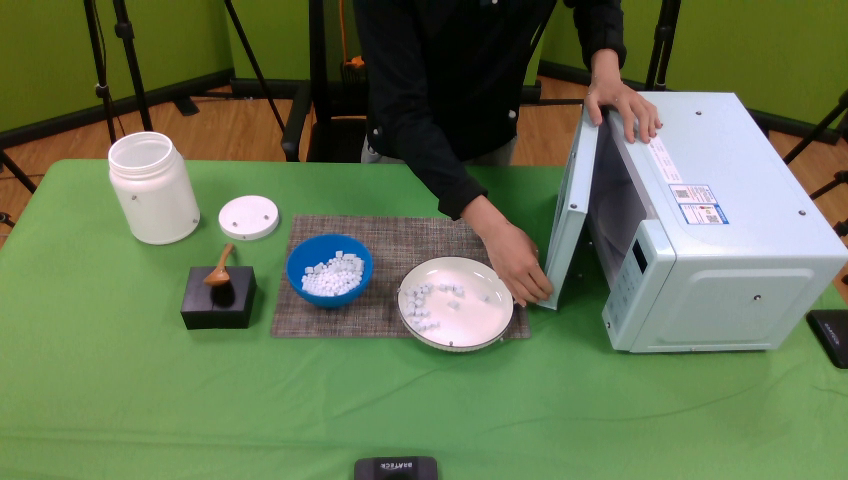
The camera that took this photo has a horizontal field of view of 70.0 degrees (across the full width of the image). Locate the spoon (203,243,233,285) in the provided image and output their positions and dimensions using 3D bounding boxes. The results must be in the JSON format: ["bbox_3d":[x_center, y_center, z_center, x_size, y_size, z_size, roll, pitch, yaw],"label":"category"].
[{"bbox_3d":[-0.360,0.039,1.087,0.041,0.022,0.192,-5,24,-7],"label":"spoon"}]

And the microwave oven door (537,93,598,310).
[{"bbox_3d":[0.272,-0.080,1.125,0.039,0.245,0.354,13,46,9],"label":"microwave oven door"}]

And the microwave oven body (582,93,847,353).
[{"bbox_3d":[0.475,-0.041,1.109,0.326,0.261,0.438,-1,45,-4],"label":"microwave oven body"}]

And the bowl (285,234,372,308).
[{"bbox_3d":[-0.167,0.068,1.077,0.151,0.077,0.150,3,46,-2],"label":"bowl"}]

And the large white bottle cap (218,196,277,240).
[{"bbox_3d":[-0.354,-0.045,1.220,0.115,0.018,0.114,2,45,-1],"label":"large white bottle cap"}]

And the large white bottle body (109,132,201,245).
[{"bbox_3d":[-0.506,-0.097,1.141,0.131,0.185,0.130,2,46,-2],"label":"large white bottle body"}]

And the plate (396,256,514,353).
[{"bbox_3d":[0.053,0.116,1.077,0.209,0.038,0.208,2,46,-2],"label":"plate"}]

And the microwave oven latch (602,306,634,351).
[{"bbox_3d":[0.332,0.153,1.044,0.030,0.029,0.078,0,45,-4],"label":"microwave oven latch"}]
